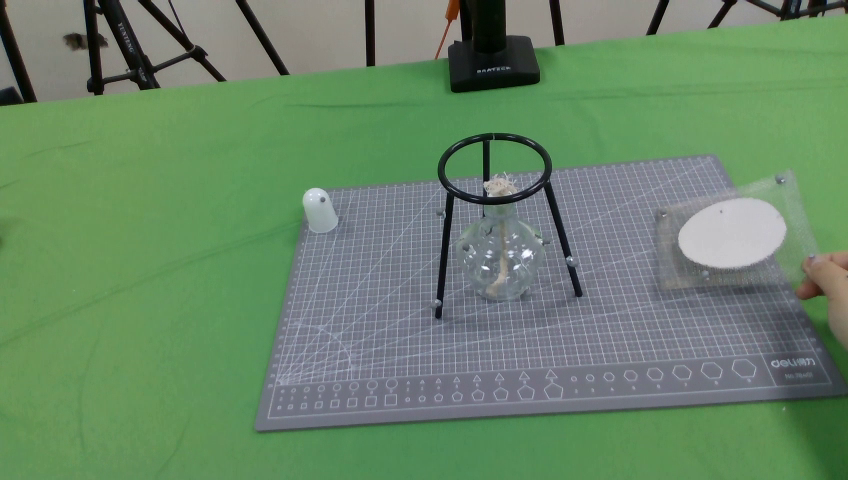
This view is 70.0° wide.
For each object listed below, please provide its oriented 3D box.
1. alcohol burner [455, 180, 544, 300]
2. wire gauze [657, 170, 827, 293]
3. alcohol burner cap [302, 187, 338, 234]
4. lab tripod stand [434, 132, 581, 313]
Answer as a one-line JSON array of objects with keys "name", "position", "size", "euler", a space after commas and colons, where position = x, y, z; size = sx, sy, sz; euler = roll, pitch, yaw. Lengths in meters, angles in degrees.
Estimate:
[{"name": "alcohol burner", "position": [0.065, -0.004, 0.521], "size": [0.078, 0.120, 0.077], "euler": [-3, 44, 3]}, {"name": "wire gauze", "position": [0.269, -0.006, 0.531], "size": [0.124, 0.011, 0.120], "euler": [-14, 39, 30]}, {"name": "alcohol burner cap", "position": [-0.110, -0.034, 0.631], "size": [0.034, 0.048, 0.033], "euler": [-4, 45, 4]}, {"name": "lab tripod stand", "position": [0.065, -0.014, 0.517], "size": [0.148, 0.133, 0.147], "euler": [-3, 43, 3]}]
